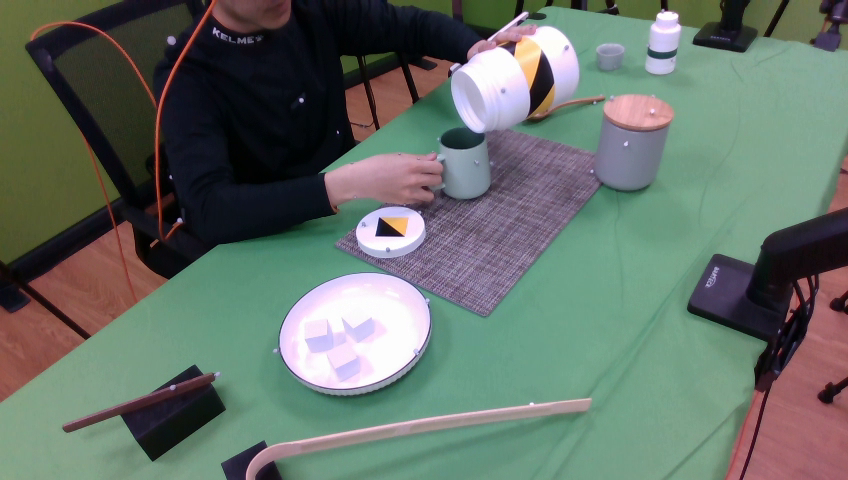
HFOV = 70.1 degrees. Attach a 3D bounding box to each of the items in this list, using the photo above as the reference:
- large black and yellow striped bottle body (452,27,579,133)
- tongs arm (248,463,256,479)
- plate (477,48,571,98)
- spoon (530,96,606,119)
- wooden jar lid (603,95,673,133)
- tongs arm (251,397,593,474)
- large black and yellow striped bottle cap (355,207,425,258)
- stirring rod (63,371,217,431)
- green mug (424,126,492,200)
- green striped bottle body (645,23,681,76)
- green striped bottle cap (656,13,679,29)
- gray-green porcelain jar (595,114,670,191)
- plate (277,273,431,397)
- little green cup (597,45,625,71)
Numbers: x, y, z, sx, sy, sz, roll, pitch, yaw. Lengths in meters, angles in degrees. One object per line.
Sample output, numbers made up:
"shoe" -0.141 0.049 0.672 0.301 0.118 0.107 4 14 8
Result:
"large black and yellow striped bottle body" 0.151 -0.264 1.014 0.184 0.131 0.129 -27 44 -16
"tongs arm" 0.012 0.262 0.615 0.385 0.026 0.050 2 42 -2
"plate" 0.223 -0.371 1.357 0.209 0.038 0.208 -4 41 4
"spoon" 0.292 -0.277 1.249 0.194 0.022 0.041 -17 24 -11
"wooden jar lid" 0.343 -0.200 0.974 0.108 0.021 0.108 -1 39 2
"tongs arm" 0.008 0.212 0.675 0.389 0.028 0.028 -5 46 -11
"large black and yellow striped bottle cap" -0.056 -0.014 0.993 0.115 0.019 0.114 -3 40 3
"stirring rod" -0.337 0.192 0.723 0.177 0.014 0.005 -18 42 -12
"green mug" 0.056 -0.125 1.039 0.126 0.105 0.091 -26 44 -21
"green striped bottle body" 0.520 -0.424 1.312 0.063 0.120 0.063 -4 41 4
"green striped bottle cap" 0.515 -0.463 1.278 0.044 0.020 0.044 -6 42 6
"gray-green porcelain jar" 0.346 -0.155 1.017 0.106 0.127 0.105 -2 44 2
"plate" -0.091 0.129 0.821 0.207 0.039 0.206 -4 40 4
"little green cup" 0.423 -0.413 1.375 0.061 0.039 0.061 -3 41 3
